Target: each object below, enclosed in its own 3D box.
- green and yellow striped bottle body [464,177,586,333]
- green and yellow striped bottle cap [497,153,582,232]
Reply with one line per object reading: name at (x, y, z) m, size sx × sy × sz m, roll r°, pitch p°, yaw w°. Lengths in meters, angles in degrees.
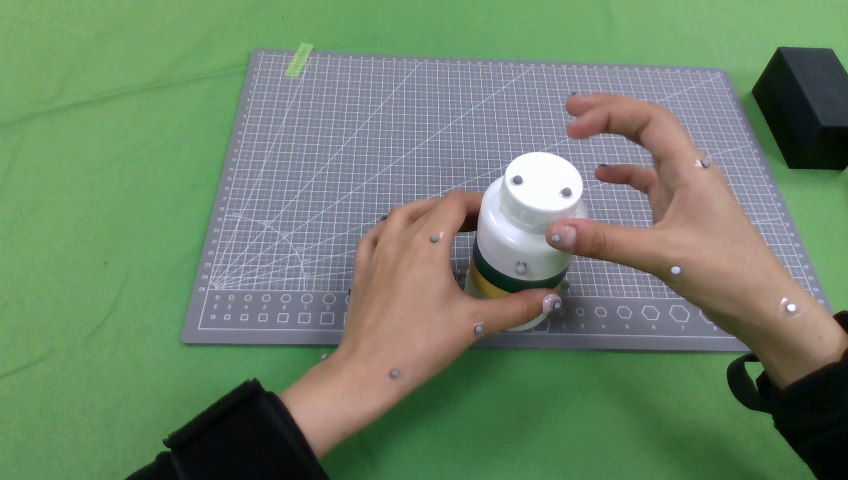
green and yellow striped bottle body at (0.061, 0.004, 0.377) m, size 0.063 × 0.120 × 0.062 m, roll 2°, pitch 55°, yaw -2°
green and yellow striped bottle cap at (0.064, -0.027, 0.335) m, size 0.045 × 0.020 × 0.045 m, roll 2°, pitch 56°, yaw -3°
